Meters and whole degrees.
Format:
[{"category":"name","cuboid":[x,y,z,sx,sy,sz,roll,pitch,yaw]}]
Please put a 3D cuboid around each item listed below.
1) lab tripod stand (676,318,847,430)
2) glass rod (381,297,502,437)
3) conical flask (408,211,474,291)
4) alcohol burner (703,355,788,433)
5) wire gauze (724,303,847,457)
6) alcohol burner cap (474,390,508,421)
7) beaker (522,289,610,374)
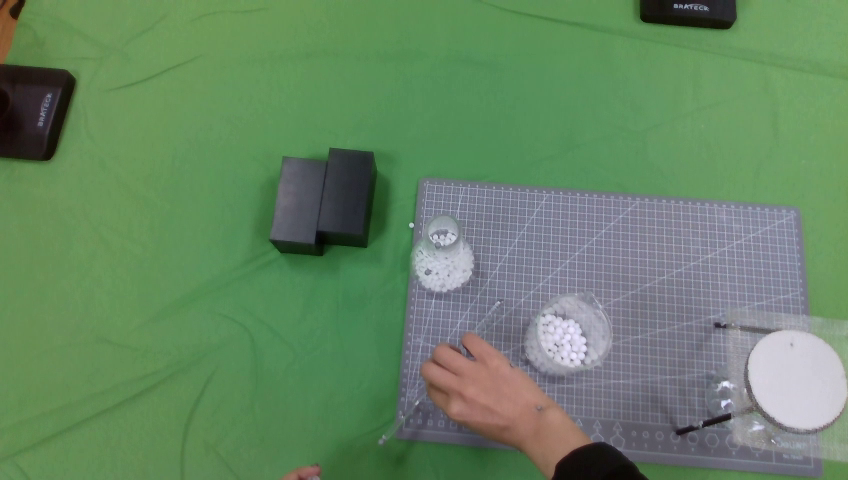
[{"category":"lab tripod stand","cuboid":[0.326,0.141,0.592,0.148,0.132,0.147,0,75,1]},{"category":"glass rod","cuboid":[0.022,0.131,0.647,0.008,0.008,0.199,40,69,11]},{"category":"conical flask","cuboid":[0.018,0.007,0.639,0.075,0.122,0.075,0,73,1]},{"category":"alcohol burner","cuboid":[0.327,0.151,0.600,0.078,0.120,0.077,-1,73,3]},{"category":"wire gauze","cuboid":[0.326,0.120,0.528,0.125,0.011,0.121,7,75,3]},{"category":"alcohol burner cap","cuboid":[0.071,0.171,0.632,0.034,0.048,0.033,2,71,-4]},{"category":"beaker","cuboid":[0.143,0.096,0.624,0.074,0.101,0.083,27,75,8]}]
